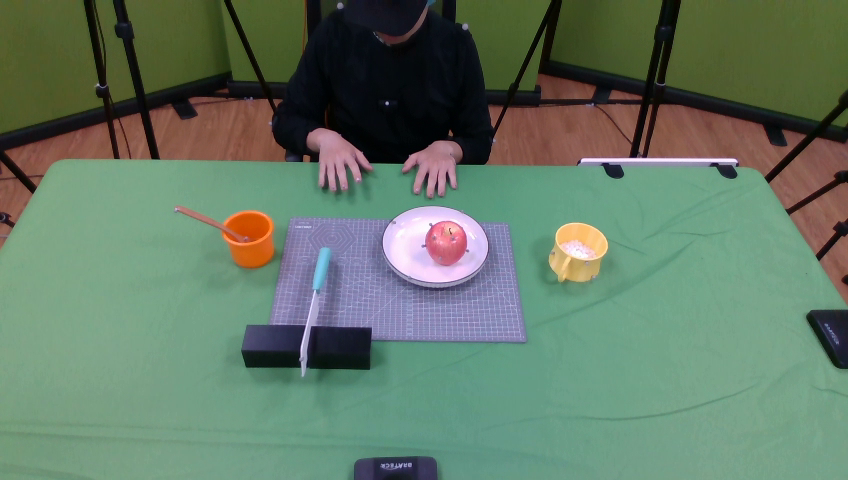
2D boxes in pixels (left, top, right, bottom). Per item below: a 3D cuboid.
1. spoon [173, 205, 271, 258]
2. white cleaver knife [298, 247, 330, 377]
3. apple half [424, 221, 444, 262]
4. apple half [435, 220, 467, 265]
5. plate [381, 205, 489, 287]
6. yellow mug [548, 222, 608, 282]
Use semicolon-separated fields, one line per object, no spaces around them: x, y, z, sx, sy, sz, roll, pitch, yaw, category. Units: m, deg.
-0.362;-0.017;1.098;0.021;0.195;0.041;-32;42;27;spoon
-0.191;0.111;1.037;0.021;0.066;0.285;4;36;-2;white cleaver knife
0.016;0.002;1.145;0.033;0.081;0.081;14;46;2;apple half
0.054;0.009;1.142;0.053;0.075;0.080;14;44;3;apple half
0.021;0.015;1.170;0.209;0.038;0.208;2;46;-2;plate
0.287;0.031;1.159;0.099;0.064;0.130;28;51;21;yellow mug
